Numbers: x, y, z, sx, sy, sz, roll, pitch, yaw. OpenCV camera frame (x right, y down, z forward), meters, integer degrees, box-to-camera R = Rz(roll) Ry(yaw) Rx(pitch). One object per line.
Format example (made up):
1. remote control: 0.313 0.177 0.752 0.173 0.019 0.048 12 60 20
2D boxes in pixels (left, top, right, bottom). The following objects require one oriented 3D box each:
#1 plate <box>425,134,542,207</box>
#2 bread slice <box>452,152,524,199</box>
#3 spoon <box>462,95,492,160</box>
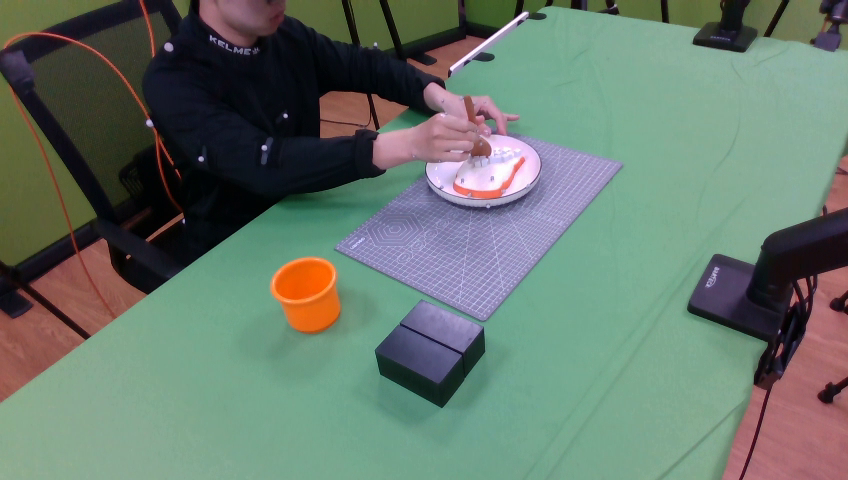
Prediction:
1. plate: 0.106 -0.121 1.079 0.209 0.038 0.208 -4 40 4
2. bread slice: 0.111 -0.118 1.079 0.104 0.019 0.131 11 42 21
3. spoon: 0.085 -0.184 1.008 0.041 0.195 0.021 -1 72 12
